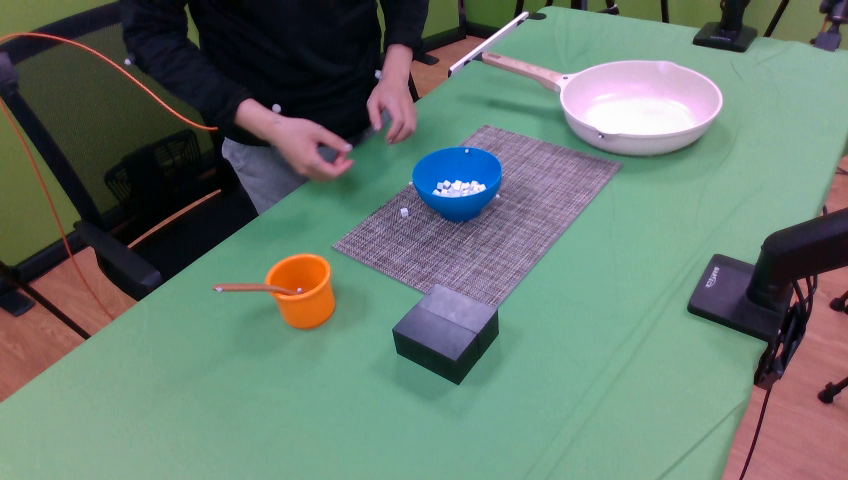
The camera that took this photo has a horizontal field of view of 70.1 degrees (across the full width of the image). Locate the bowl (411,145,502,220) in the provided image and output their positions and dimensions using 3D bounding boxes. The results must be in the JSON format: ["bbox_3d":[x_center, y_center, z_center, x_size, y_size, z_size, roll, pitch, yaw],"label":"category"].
[{"bbox_3d":[0.057,-0.086,1.010,0.151,0.077,0.150,-4,40,4],"label":"bowl"}]

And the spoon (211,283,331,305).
[{"bbox_3d":[-0.201,0.069,0.819,0.041,0.195,0.021,33,99,37],"label":"spoon"}]

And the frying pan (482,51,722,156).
[{"bbox_3d":[0.326,-0.298,1.204,0.485,0.103,0.307,28,51,23],"label":"frying pan"}]
